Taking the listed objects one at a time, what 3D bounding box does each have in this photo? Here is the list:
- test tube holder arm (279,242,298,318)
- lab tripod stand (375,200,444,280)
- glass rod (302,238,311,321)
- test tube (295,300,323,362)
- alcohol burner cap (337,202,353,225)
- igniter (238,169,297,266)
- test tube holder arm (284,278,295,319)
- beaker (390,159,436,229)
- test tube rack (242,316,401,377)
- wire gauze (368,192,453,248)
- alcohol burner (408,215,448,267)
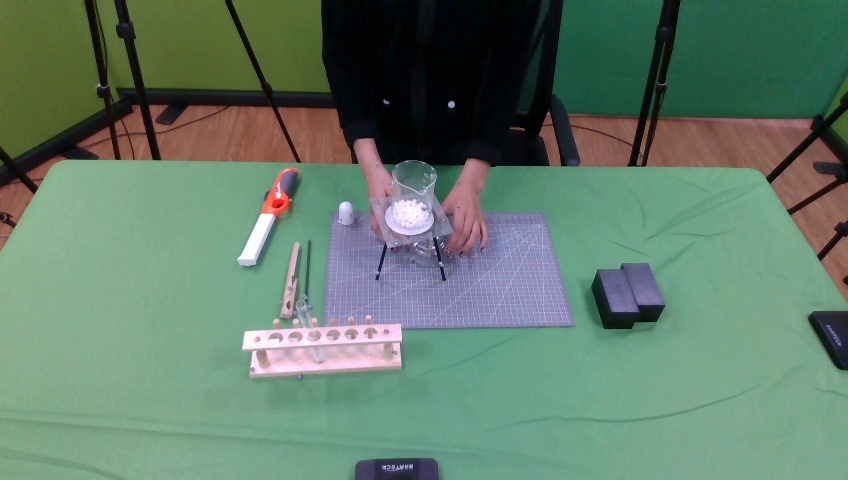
[{"bbox_3d":[-0.248,0.069,1.114,0.013,0.015,0.177,25,38,-26],"label":"test tube holder arm"},{"bbox_3d":[-0.023,0.004,1.113,0.148,0.132,0.147,4,45,-3],"label":"lab tripod stand"},{"bbox_3d":[-0.218,0.069,1.125,0.008,0.008,0.198,-1,47,-5],"label":"glass rod"},{"bbox_3d":[-0.176,0.143,0.935,0.017,0.151,0.017,-2,46,2],"label":"test tube"},{"bbox_3d":[-0.161,-0.056,1.223,0.034,0.048,0.033,2,46,-2],"label":"alcohol burner cap"},{"bbox_3d":[-0.313,-0.055,1.224,0.057,0.025,0.275,1,45,10],"label":"igniter"},{"bbox_3d":[-0.241,0.103,1.085,0.010,0.015,0.087,25,38,-26],"label":"test tube holder arm"},{"bbox_3d":[-0.020,-0.073,1.029,0.074,0.101,0.083,-10,48,-16],"label":"beaker"},{"bbox_3d":[-0.161,0.166,0.983,0.242,0.085,0.066,-2,46,-6],"label":"test tube rack"},{"bbox_3d":[-0.025,-0.041,1.065,0.122,0.011,0.124,-10,46,-18],"label":"wire gauze"},{"bbox_3d":[0.009,-0.005,1.137,0.078,0.119,0.077,2,48,-2],"label":"alcohol burner"}]
